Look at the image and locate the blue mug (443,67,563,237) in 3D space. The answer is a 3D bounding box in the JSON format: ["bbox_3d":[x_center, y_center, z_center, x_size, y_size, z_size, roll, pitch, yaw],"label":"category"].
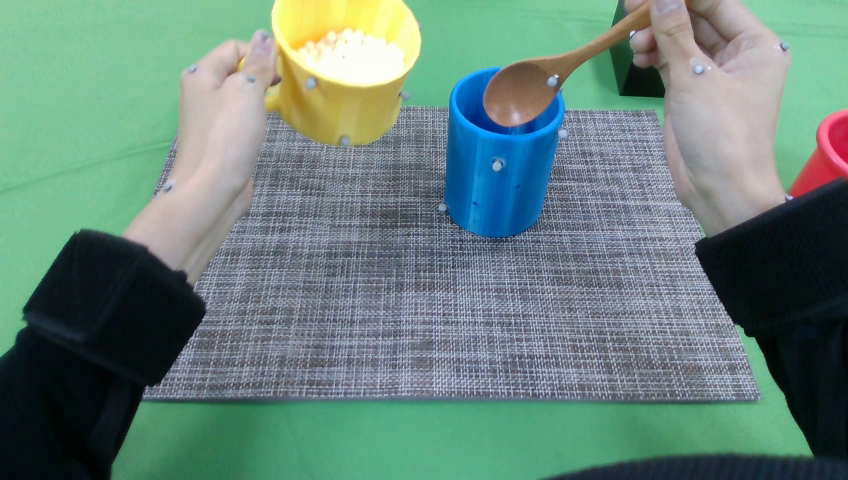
[{"bbox_3d":[0.069,-0.075,0.477,0.081,0.107,0.116,37,59,25],"label":"blue mug"}]

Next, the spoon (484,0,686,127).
[{"bbox_3d":[0.107,-0.119,0.363,0.042,0.193,0.021,53,52,-11],"label":"spoon"}]

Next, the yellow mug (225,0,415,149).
[{"bbox_3d":[-0.075,-0.118,0.423,0.131,0.064,0.099,-24,72,-25],"label":"yellow mug"}]
